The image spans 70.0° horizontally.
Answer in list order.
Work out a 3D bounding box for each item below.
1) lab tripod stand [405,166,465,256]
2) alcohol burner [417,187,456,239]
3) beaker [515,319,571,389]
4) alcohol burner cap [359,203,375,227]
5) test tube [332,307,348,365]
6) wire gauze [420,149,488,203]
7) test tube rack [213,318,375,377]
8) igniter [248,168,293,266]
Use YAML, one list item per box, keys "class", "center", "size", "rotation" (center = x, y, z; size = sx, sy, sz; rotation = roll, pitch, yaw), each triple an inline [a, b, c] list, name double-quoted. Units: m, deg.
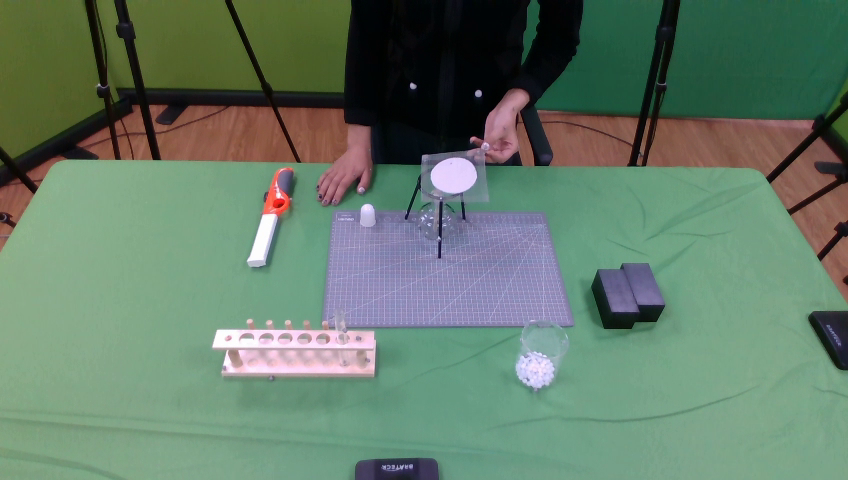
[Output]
- class: "lab tripod stand"
  center: [0.030, -0.063, 1.180]
  size: [0.148, 0.132, 0.147]
  rotation: [3, 47, -3]
- class: "alcohol burner"
  center: [0.025, -0.059, 1.189]
  size: [0.078, 0.120, 0.077]
  rotation: [1, 48, -1]
- class: "beaker"
  center: [0.186, 0.185, 0.980]
  size: [0.074, 0.101, 0.083]
  rotation: [-23, 51, -24]
- class: "alcohol burner cap"
  center: [-0.115, -0.053, 1.224]
  size: [0.034, 0.048, 0.033]
  rotation: [3, 47, -3]
- class: "test tube"
  center: [-0.128, 0.151, 0.931]
  size: [0.017, 0.151, 0.017]
  rotation: [1, 50, -2]
- class: "wire gauze"
  center: [0.055, -0.118, 1.125]
  size: [0.125, 0.011, 0.121]
  rotation: [-2, 57, 5]
- class: "test tube rack"
  center: [-0.202, 0.170, 0.977]
  size: [0.242, 0.085, 0.066]
  rotation: [1, 46, -3]
- class: "igniter"
  center: [-0.307, -0.055, 1.225]
  size: [0.057, 0.025, 0.275]
  rotation: [-3, 45, 6]
